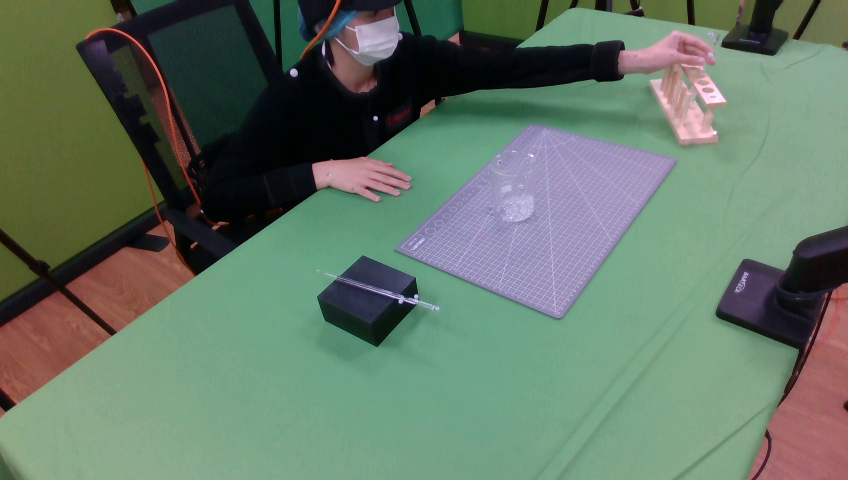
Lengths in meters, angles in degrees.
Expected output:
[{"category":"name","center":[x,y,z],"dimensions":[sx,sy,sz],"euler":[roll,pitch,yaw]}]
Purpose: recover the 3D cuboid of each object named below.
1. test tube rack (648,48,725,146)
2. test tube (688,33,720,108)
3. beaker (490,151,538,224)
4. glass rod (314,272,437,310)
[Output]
[{"category":"test tube rack","center":[0.508,-0.285,1.186],"dimensions":[0.067,0.085,0.241],"euler":[-4,40,6]},{"category":"test tube","center":[0.522,-0.316,1.139],"dimensions":[0.017,0.150,0.017],"euler":[2,43,-1]},{"category":"beaker","center":[0.151,-0.084,0.988],"dimensions":[0.084,0.101,0.073],"euler":[-24,43,-20]},{"category":"glass rod","center":[-0.071,0.069,0.837],"dimensions":[0.198,0.008,0.008],"euler":[14,44,24]}]
